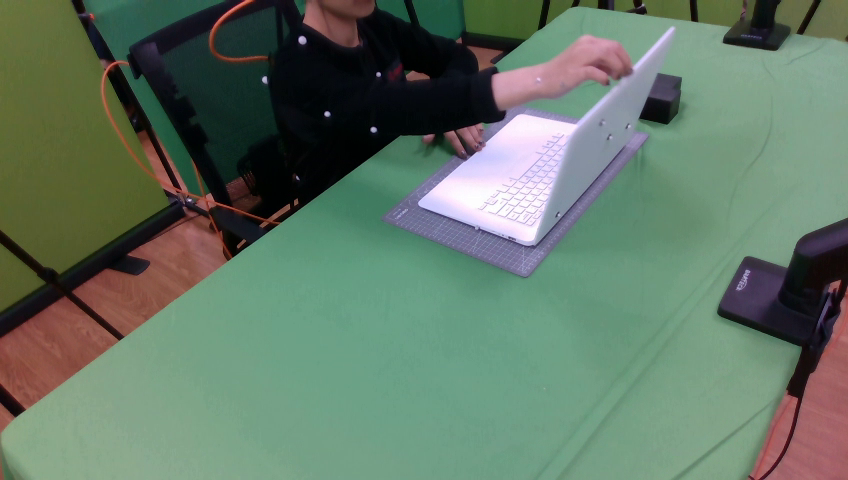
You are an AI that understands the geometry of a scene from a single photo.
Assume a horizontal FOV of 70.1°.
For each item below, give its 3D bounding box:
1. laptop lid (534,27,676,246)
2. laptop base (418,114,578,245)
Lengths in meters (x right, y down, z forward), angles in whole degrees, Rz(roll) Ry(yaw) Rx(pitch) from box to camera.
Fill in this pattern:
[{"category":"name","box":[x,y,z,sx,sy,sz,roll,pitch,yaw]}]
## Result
[{"category":"laptop lid","box":[0.285,-0.163,0.943,0.013,0.242,0.357,32,52,20]},{"category":"laptop base","box":[0.183,-0.122,1.094,0.233,0.023,0.355,19,47,34]}]
